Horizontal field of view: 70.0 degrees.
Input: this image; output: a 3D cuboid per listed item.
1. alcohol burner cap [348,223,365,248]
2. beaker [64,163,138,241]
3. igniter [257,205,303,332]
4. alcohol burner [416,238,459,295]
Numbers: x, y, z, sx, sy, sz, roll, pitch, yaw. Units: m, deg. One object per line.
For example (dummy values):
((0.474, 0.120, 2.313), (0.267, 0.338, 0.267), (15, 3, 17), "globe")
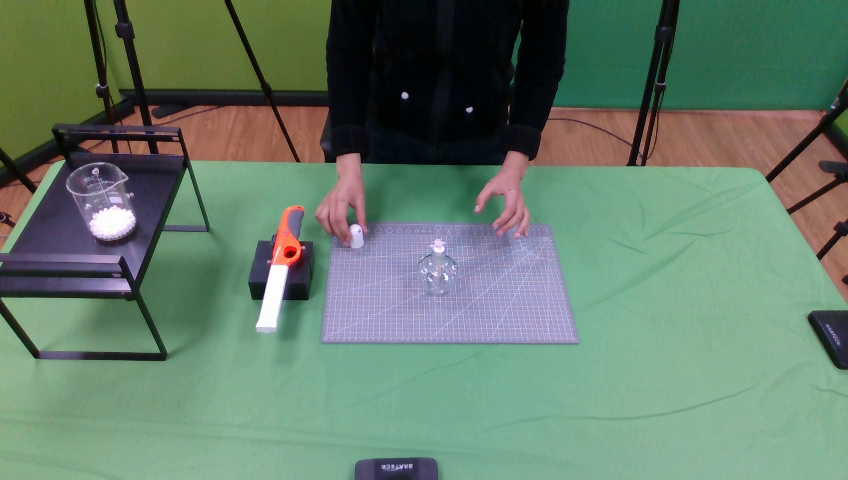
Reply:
((-0.133, -0.012, 1.177), (0.034, 0.048, 0.033), (0, 44, 1), "alcohol burner cap")
((-0.477, -0.055, 0.910), (0.084, 0.101, 0.073), (-9, 48, -13), "beaker")
((-0.252, 0.040, 1.070), (0.057, 0.025, 0.275), (3, 50, -2), "igniter")
((0.025, 0.042, 1.088), (0.078, 0.120, 0.077), (1, 46, 0), "alcohol burner")
